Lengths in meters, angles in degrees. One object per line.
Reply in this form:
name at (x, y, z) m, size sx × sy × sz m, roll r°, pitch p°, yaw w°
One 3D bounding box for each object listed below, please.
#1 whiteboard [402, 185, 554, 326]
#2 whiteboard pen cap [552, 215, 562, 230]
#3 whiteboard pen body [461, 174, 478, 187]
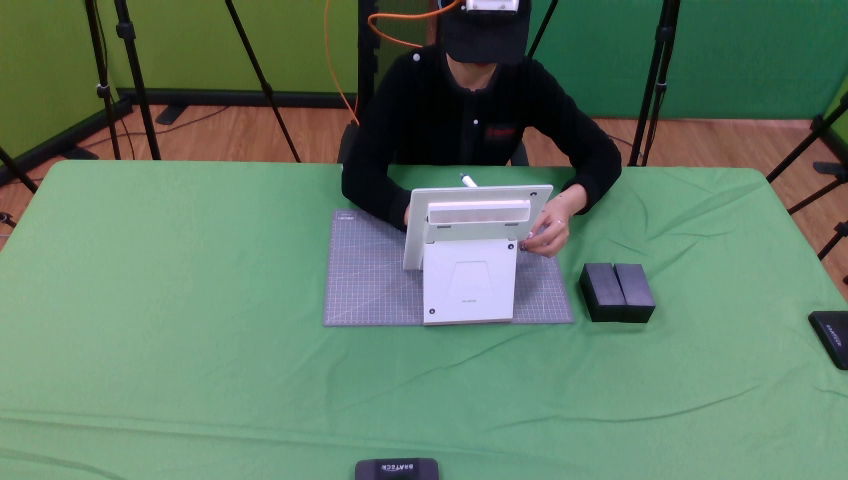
whiteboard at (0.081, 0.044, 1.005) m, size 0.217 × 0.306 × 0.143 m, roll -1°, pitch 66°, yaw -6°
whiteboard pen cap at (0.276, -0.037, 1.260) m, size 0.018 × 0.018 × 0.033 m, roll 2°, pitch 43°, yaw -2°
whiteboard pen body at (0.107, -0.071, 1.073) m, size 0.017 × 0.017 × 0.140 m, roll -21°, pitch 52°, yaw -22°
